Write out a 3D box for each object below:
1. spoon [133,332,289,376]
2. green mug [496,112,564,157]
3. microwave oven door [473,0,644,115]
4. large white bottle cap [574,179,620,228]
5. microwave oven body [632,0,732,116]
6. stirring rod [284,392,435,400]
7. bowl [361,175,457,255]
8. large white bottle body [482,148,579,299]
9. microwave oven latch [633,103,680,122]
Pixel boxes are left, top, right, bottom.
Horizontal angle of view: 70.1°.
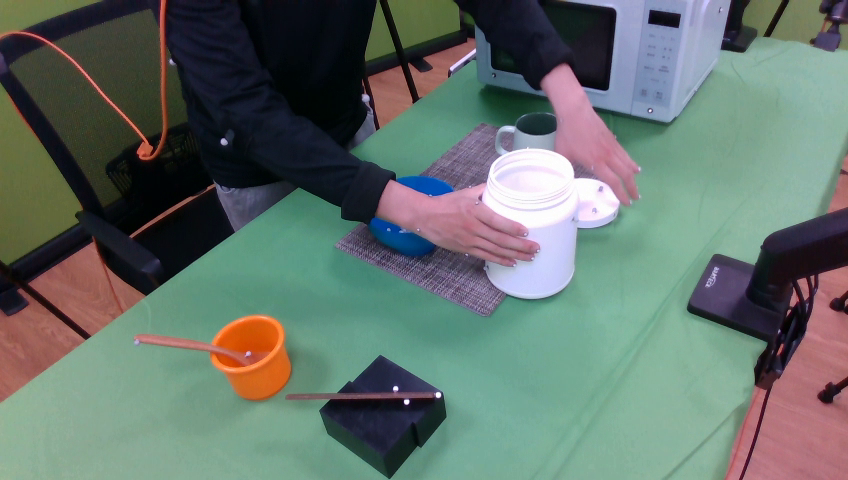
[{"bbox_3d":[-0.257,0.137,0.747,0.021,0.195,0.041,-47,39,23],"label":"spoon"},{"bbox_3d":[0.185,-0.161,1.061,0.124,0.105,0.092,15,46,25],"label":"green mug"},{"bbox_3d":[0.257,-0.396,1.199,0.353,0.245,0.039,21,48,29],"label":"microwave oven door"},{"bbox_3d":[0.265,-0.062,1.001,0.115,0.018,0.114,-4,41,4],"label":"large white bottle cap"},{"bbox_3d":[0.377,-0.462,1.267,0.438,0.261,0.327,21,48,30],"label":"microwave oven body"},{"bbox_3d":[-0.075,0.180,0.698,0.176,0.006,0.014,-2,6,7],"label":"stirring rod"},{"bbox_3d":[-0.018,-0.029,0.955,0.151,0.077,0.150,-4,40,4],"label":"bowl"},{"bbox_3d":[0.148,-0.023,0.842,0.130,0.185,0.130,-5,41,5],"label":"large white bottle body"},{"bbox_3d":[0.443,-0.249,1.157,0.078,0.029,0.030,21,48,30],"label":"microwave oven latch"}]
